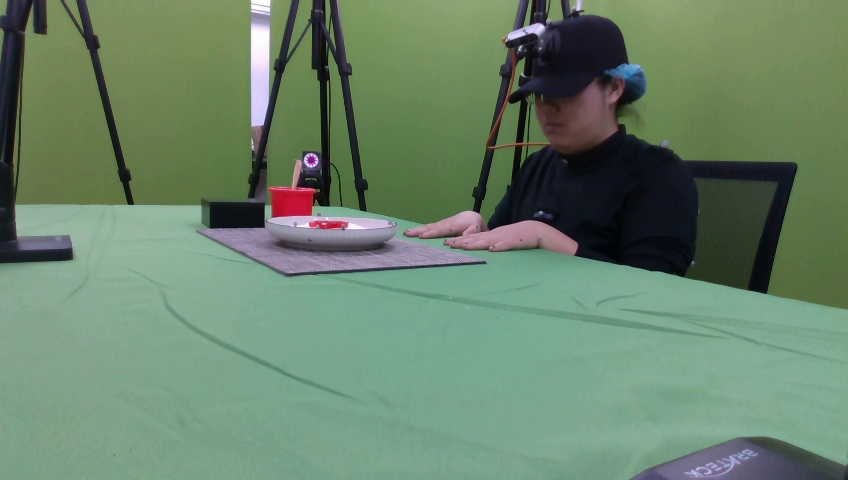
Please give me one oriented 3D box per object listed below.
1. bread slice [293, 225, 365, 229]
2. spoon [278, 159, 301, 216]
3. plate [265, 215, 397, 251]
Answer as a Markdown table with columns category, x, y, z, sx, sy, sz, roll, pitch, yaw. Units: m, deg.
| category | x | y | z | sx | sy | sz | roll | pitch | yaw |
| --- | --- | --- | --- | --- | --- | --- | --- | --- | --- |
| bread slice | -0.154 | -0.012 | 0.973 | 0.132 | 0.019 | 0.104 | -1 | 7 | -31 |
| spoon | -0.275 | -0.108 | 1.278 | 0.042 | 0.021 | 0.193 | 2 | 51 | -2 |
| plate | -0.147 | -0.012 | 0.963 | 0.209 | 0.038 | 0.209 | 3 | 7 | 0 |
